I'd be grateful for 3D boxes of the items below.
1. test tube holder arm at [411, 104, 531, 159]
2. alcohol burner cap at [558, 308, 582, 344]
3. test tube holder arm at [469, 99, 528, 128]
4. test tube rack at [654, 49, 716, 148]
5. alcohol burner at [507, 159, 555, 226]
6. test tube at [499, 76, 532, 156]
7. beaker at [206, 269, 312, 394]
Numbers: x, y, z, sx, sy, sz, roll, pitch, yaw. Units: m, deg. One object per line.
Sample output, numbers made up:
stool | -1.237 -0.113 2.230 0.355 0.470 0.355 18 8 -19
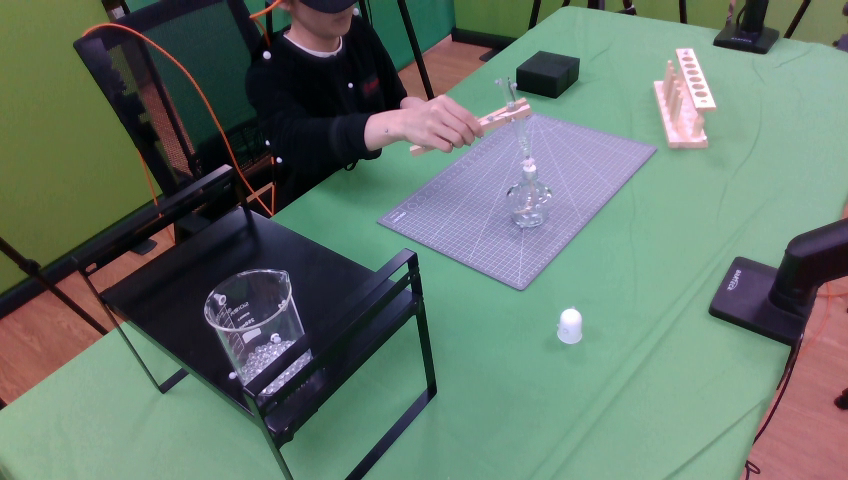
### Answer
test tube holder arm | 0.066 -0.154 0.857 0.178 0.015 0.013 -21 45 5
alcohol burner cap | 0.194 0.111 0.802 0.034 0.048 0.033 -4 39 4
test tube holder arm | 0.106 -0.175 0.858 0.088 0.015 0.010 -26 45 0
test tube rack | 0.502 -0.281 1.176 0.066 0.085 0.241 2 41 11
alcohol burner | 0.172 -0.081 0.969 0.078 0.119 0.077 -3 42 4
test tube | 0.133 -0.173 0.864 0.017 0.151 0.017 -12 52 16
beaker | -0.146 0.086 0.560 0.073 0.101 0.084 19 47 28
